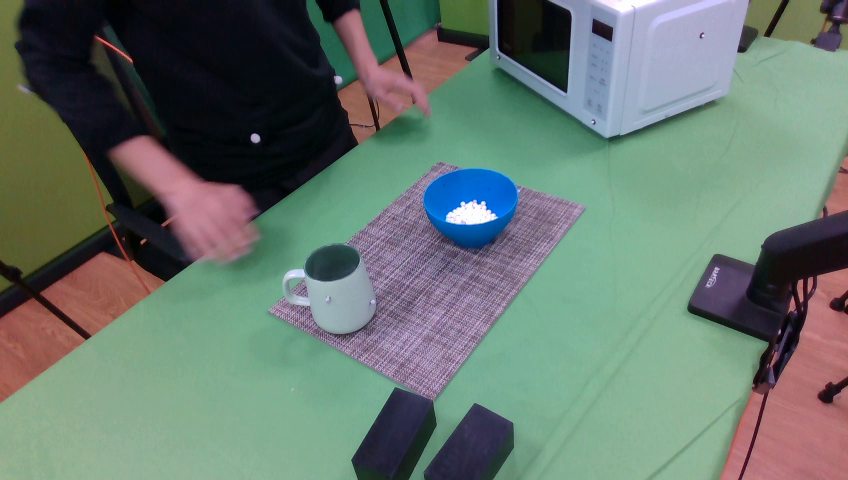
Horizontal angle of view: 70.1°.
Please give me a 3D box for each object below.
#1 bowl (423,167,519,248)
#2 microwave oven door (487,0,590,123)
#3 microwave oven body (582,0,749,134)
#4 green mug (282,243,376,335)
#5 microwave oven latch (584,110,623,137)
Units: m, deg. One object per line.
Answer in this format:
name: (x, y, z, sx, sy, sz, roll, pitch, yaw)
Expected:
bowl: (0.075, -0.041, 0.958, 0.151, 0.077, 0.150, -3, 41, 3)
microwave oven door: (0.232, -0.420, 1.231, 0.039, 0.245, 0.352, -22, 43, -16)
microwave oven body: (0.382, -0.444, 1.246, 0.327, 0.261, 0.437, -22, 42, -16)
green mug: (-0.134, 0.069, 0.838, 0.125, 0.105, 0.092, -2, 41, 6)
microwave oven latch: (0.337, -0.222, 1.142, 0.030, 0.029, 0.078, -21, 42, -15)
